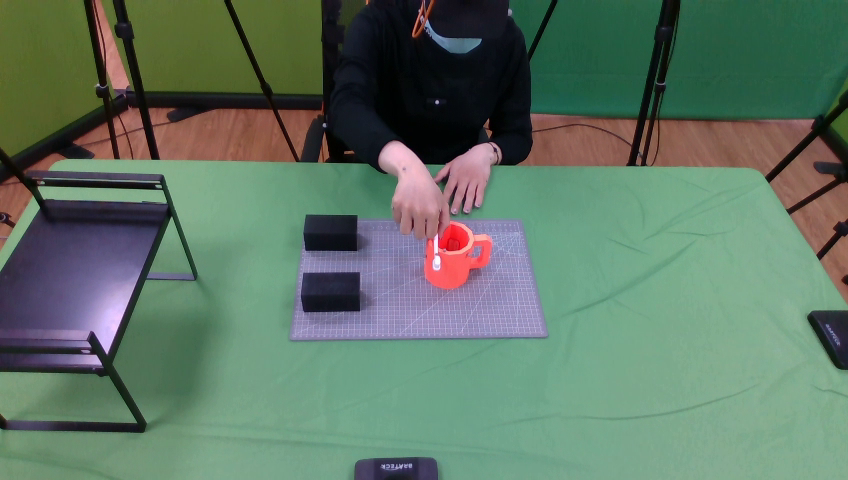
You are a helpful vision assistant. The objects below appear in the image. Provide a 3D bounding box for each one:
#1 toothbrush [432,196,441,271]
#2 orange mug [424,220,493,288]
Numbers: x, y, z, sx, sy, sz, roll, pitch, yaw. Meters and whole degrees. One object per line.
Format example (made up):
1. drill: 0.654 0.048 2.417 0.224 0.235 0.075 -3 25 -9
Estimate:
1. toothbrush: 0.022 -0.018 1.082 0.014 0.017 0.180 2 46 -2
2. orange mug: 0.063 0.023 1.119 0.126 0.101 0.083 -9 47 -7
